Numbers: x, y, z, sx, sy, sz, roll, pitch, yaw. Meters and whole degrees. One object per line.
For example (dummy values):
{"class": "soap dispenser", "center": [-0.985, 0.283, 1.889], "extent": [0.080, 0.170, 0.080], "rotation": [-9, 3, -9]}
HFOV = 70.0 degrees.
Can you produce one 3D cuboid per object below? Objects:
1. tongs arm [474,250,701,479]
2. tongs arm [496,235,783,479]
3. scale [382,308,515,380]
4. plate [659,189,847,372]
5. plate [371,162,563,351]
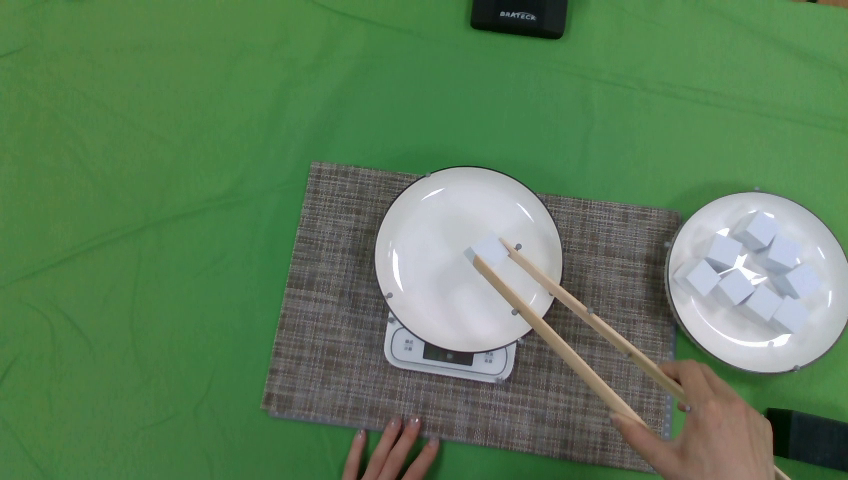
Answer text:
{"class": "tongs arm", "center": [0.177, 0.142, 0.543], "extent": [0.028, 0.028, 0.384], "rotation": [-34, 65, -23]}
{"class": "tongs arm", "center": [0.194, 0.129, 0.550], "extent": [0.050, 0.027, 0.382], "rotation": [-40, 67, -22]}
{"class": "scale", "center": [0.038, 0.051, 0.696], "extent": [0.148, 0.031, 0.200], "rotation": [9, 79, 2]}
{"class": "plate", "center": [0.371, 0.046, 0.694], "extent": [0.208, 0.039, 0.206], "rotation": [0, 79, 1]}
{"class": "plate", "center": [0.047, 0.017, 0.669], "extent": [0.209, 0.038, 0.208], "rotation": [0, 79, 0]}
